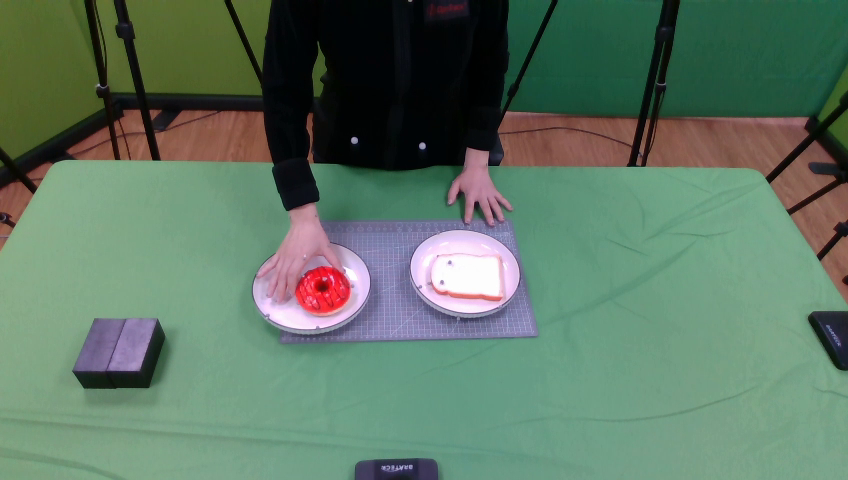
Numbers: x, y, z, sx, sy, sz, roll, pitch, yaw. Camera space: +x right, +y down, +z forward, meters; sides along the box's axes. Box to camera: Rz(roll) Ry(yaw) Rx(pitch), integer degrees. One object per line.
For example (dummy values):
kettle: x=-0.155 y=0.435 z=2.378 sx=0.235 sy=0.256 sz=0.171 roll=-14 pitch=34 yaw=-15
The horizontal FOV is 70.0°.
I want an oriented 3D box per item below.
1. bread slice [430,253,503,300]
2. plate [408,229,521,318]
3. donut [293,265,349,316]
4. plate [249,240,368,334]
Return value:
bread slice: x=0.078 y=0.067 z=1.125 sx=0.134 sy=0.018 sz=0.106 roll=1 pitch=45 yaw=-3
plate: x=0.074 y=0.064 z=1.127 sx=0.209 sy=0.038 sz=0.208 roll=2 pitch=46 yaw=-2
donut: x=-0.181 y=0.089 z=1.068 sx=0.099 sy=0.048 sz=0.098 roll=2 pitch=53 yaw=-3
plate: x=-0.204 y=0.087 z=1.084 sx=0.208 sy=0.039 sz=0.206 roll=2 pitch=46 yaw=-2
